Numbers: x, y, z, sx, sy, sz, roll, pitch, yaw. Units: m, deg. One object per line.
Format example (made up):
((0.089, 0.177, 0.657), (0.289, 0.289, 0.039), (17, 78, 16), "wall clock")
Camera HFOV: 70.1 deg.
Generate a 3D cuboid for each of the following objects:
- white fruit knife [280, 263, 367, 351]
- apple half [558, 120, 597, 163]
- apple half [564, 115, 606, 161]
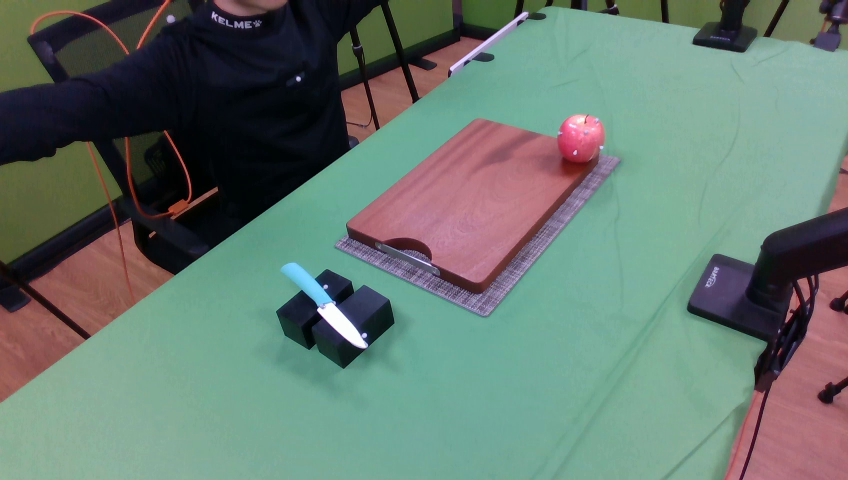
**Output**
((-0.136, 0.087, 0.819), (0.027, 0.016, 0.205), (-46, 53, -7), "white fruit knife")
((0.255, -0.163, 1.037), (0.033, 0.081, 0.080), (-33, 46, -31), "apple half")
((0.284, -0.181, 1.056), (0.053, 0.075, 0.080), (-32, 44, -31), "apple half")
